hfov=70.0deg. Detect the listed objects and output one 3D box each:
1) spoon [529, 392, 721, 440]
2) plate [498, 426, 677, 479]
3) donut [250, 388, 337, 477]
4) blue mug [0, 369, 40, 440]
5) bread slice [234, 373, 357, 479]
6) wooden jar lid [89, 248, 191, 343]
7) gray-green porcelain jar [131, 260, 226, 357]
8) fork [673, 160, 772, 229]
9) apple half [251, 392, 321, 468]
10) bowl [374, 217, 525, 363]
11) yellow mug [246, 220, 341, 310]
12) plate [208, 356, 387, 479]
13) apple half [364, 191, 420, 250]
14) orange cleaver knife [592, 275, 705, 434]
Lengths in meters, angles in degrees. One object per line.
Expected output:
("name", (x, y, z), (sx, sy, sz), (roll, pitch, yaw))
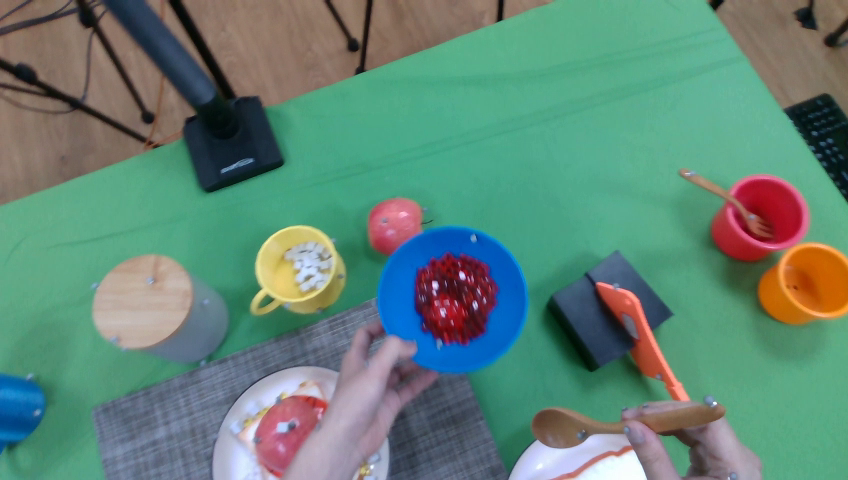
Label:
("spoon", (0.140, 0.132, 0.451), (0.021, 0.194, 0.041), (-38, 91, -29))
("plate", (0.183, 0.302, 0.681), (0.209, 0.038, 0.208), (-1, 72, 3))
("donut", (-0.148, 0.218, 0.690), (0.099, 0.048, 0.098), (-1, 72, 3))
("blue mug", (-0.525, 0.206, 0.707), (0.082, 0.106, 0.116), (-1, 71, 2))
("bread slice", (-0.141, 0.239, 0.712), (0.107, 0.018, 0.133), (-39, 75, -8))
("wooden jar lid", (-0.310, 0.062, 0.668), (0.108, 0.021, 0.107), (0, 69, 1))
("gray-green porcelain jar", (-0.306, 0.083, 0.728), (0.106, 0.127, 0.105), (-1, 71, 3))
("fork", (0.365, -0.053, 0.732), (0.209, 0.018, 0.028), (23, 67, -34))
("apple half", (-0.152, 0.206, 0.655), (0.081, 0.033, 0.081), (-3, 71, 10))
("bowl", (0.026, 0.060, 0.631), (0.151, 0.077, 0.150), (0, 68, 1))
("yellow mug", (-0.172, 0.042, 0.768), (0.131, 0.064, 0.099), (-43, 75, -10))
("plate", (-0.145, 0.243, 0.711), (0.207, 0.039, 0.206), (-1, 72, 2))
("apple half", (-0.043, -0.030, 0.793), (0.074, 0.054, 0.080), (-1, 72, 5))
("orange cleaver knife", (0.260, 0.132, 0.711), (0.012, 0.077, 0.211), (-32, 95, -15))
